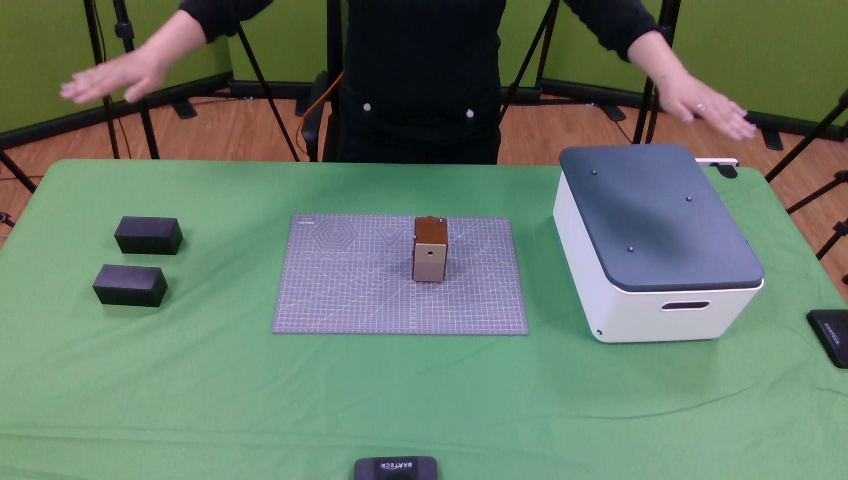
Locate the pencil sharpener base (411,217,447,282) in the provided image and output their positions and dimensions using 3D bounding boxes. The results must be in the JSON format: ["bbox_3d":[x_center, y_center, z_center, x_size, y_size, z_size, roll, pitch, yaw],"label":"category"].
[{"bbox_3d":[0.009,0.017,1.118,0.061,0.107,0.076,1,45,-2],"label":"pencil sharpener base"}]

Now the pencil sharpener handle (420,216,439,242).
[{"bbox_3d":[0.008,-0.027,1.145,0.036,0.068,0.030,6,45,-6],"label":"pencil sharpener handle"}]

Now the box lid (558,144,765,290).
[{"bbox_3d":[0.404,-0.054,1.073,0.263,0.015,0.369,-2,45,-5],"label":"box lid"}]

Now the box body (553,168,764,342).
[{"bbox_3d":[0.403,0.006,1.125,0.254,0.161,0.361,-2,46,-5],"label":"box body"}]
